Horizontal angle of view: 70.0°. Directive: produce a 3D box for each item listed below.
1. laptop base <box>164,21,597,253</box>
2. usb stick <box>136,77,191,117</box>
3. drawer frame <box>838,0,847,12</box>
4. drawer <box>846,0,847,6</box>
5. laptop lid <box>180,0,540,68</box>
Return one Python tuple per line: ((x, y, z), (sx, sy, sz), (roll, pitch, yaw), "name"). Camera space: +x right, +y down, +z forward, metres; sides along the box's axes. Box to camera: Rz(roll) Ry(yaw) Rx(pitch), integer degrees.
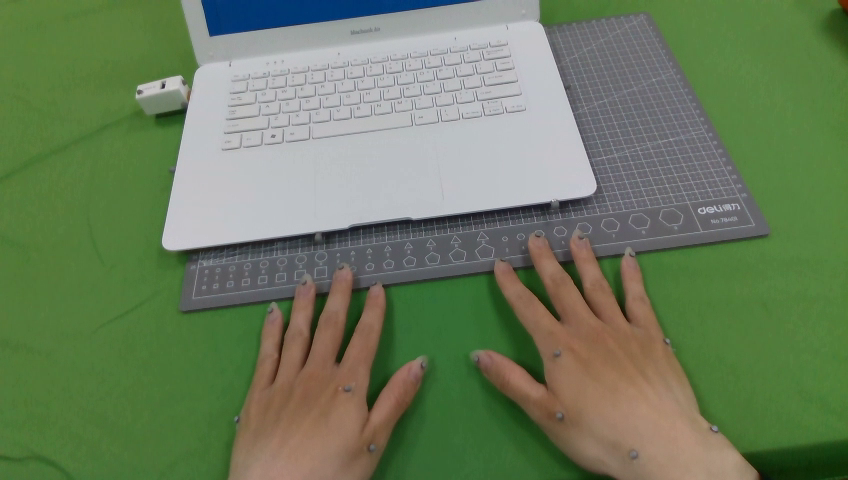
((-0.045, -0.101, 0.552), (0.354, 0.023, 0.233), (-8, 56, 1), "laptop base")
((-0.244, -0.140, 0.589), (0.059, 0.027, 0.021), (-10, 52, 0), "usb stick")
((0.522, -0.196, 0.520), (0.202, 0.083, 0.211), (-12, 52, -2), "drawer frame")
((0.523, -0.194, 0.520), (0.194, 0.074, 0.209), (-12, 52, -1), "drawer")
((-0.071, -0.300, 0.575), (0.357, 0.243, 0.013), (-9, 23, 1), "laptop lid")
